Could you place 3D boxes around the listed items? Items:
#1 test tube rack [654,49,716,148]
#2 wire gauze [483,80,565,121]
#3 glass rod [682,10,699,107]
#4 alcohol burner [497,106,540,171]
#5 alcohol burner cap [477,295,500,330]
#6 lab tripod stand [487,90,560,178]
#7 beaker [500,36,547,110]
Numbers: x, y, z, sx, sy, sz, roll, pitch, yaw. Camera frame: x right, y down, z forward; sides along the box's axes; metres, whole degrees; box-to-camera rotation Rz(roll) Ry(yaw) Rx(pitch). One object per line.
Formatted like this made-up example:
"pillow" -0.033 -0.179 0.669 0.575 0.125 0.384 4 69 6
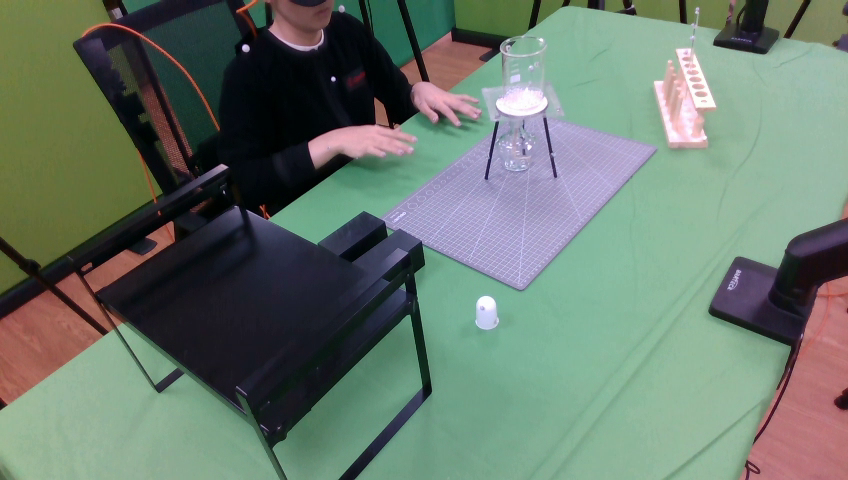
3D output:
"test tube rack" 0.502 -0.281 1.176 0.066 0.085 0.241 2 41 11
"wire gauze" 0.168 -0.237 1.035 0.125 0.011 0.121 -7 39 4
"glass rod" 0.501 -0.335 1.138 0.008 0.201 0.008 -7 45 7
"alcohol burner" 0.170 -0.187 1.092 0.078 0.119 0.077 -6 41 6
"alcohol burner cap" 0.089 0.097 0.833 0.034 0.048 0.033 -4 42 4
"lab tripod stand" 0.175 -0.185 1.074 0.148 0.132 0.147 -5 42 5
"beaker" 0.169 -0.276 1.004 0.084 0.101 0.073 -26 45 -18
